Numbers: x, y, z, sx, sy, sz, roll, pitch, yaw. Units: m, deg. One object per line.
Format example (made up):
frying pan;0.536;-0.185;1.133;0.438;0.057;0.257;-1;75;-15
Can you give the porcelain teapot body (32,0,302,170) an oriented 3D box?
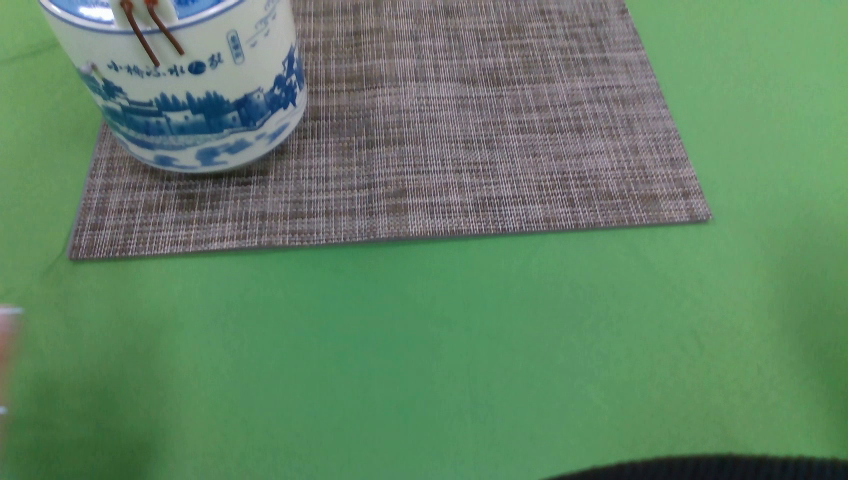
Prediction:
porcelain teapot body;-0.168;-0.182;0.394;0.145;0.227;0.203;-9;58;-7
